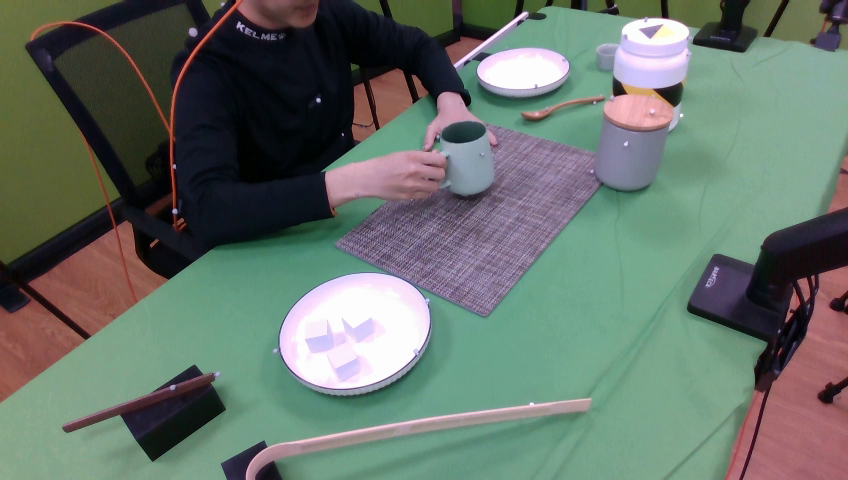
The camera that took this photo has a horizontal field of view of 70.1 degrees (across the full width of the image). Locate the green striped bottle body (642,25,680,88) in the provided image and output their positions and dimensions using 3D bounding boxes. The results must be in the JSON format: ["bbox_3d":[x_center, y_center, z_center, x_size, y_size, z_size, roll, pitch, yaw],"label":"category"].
[{"bbox_3d":[0.499,-0.387,1.271,0.063,0.120,0.063,-4,41,4],"label":"green striped bottle body"}]

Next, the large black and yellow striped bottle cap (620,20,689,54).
[{"bbox_3d":[0.411,-0.363,1.080,0.115,0.019,0.114,-4,42,4],"label":"large black and yellow striped bottle cap"}]

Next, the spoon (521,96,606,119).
[{"bbox_3d":[0.291,-0.277,1.249,0.194,0.022,0.041,-18,24,-11],"label":"spoon"}]

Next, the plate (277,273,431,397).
[{"bbox_3d":[-0.092,0.129,0.821,0.207,0.039,0.206,-4,40,4],"label":"plate"}]

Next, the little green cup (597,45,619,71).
[{"bbox_3d":[0.423,-0.413,1.376,0.061,0.039,0.061,-4,41,4],"label":"little green cup"}]

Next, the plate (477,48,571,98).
[{"bbox_3d":[0.223,-0.371,1.357,0.209,0.038,0.208,-4,41,4],"label":"plate"}]

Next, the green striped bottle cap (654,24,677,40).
[{"bbox_3d":[0.495,-0.426,1.237,0.044,0.020,0.044,-5,41,5],"label":"green striped bottle cap"}]

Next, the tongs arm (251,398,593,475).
[{"bbox_3d":[0.008,0.212,0.675,0.389,0.028,0.028,-5,46,-11],"label":"tongs arm"}]

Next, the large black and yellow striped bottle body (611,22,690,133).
[{"bbox_3d":[0.420,-0.300,1.132,0.131,0.185,0.130,-4,41,4],"label":"large black and yellow striped bottle body"}]

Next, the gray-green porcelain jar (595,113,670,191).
[{"bbox_3d":[0.346,-0.155,1.017,0.106,0.127,0.105,-2,44,2],"label":"gray-green porcelain jar"}]

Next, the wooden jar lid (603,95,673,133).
[{"bbox_3d":[0.343,-0.200,0.974,0.108,0.021,0.108,-2,39,2],"label":"wooden jar lid"}]

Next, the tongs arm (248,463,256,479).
[{"bbox_3d":[0.012,0.262,0.615,0.385,0.026,0.050,2,41,-2],"label":"tongs arm"}]

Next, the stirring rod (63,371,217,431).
[{"bbox_3d":[-0.337,0.192,0.723,0.177,0.014,0.005,-18,43,-12],"label":"stirring rod"}]

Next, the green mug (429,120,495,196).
[{"bbox_3d":[0.060,-0.130,1.019,0.126,0.105,0.091,-34,45,-26],"label":"green mug"}]
